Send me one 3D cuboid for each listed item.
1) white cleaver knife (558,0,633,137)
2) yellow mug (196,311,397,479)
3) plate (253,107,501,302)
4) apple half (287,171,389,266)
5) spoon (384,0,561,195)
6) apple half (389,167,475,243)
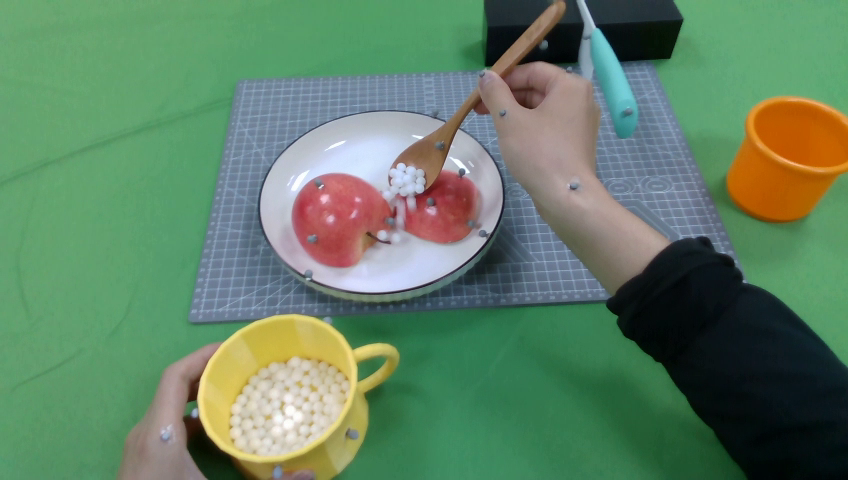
[{"bbox_3d":[0.169,-0.201,0.628,0.021,0.066,0.283,-5,50,3],"label":"white cleaver knife"},{"bbox_3d":[-0.079,0.101,0.411,0.131,0.064,0.099,-21,57,-16],"label":"yellow mug"},{"bbox_3d":[-0.039,-0.032,0.523,0.209,0.038,0.207,0,54,1],"label":"plate"},{"bbox_3d":[-0.073,-0.026,0.499,0.074,0.054,0.080,36,62,27],"label":"apple half"},{"bbox_3d":[0.034,-0.106,0.468,0.022,0.194,0.041,-4,54,-55],"label":"spoon"},{"bbox_3d":[0.006,-0.038,0.518,0.081,0.033,0.080,0,56,0],"label":"apple half"}]
